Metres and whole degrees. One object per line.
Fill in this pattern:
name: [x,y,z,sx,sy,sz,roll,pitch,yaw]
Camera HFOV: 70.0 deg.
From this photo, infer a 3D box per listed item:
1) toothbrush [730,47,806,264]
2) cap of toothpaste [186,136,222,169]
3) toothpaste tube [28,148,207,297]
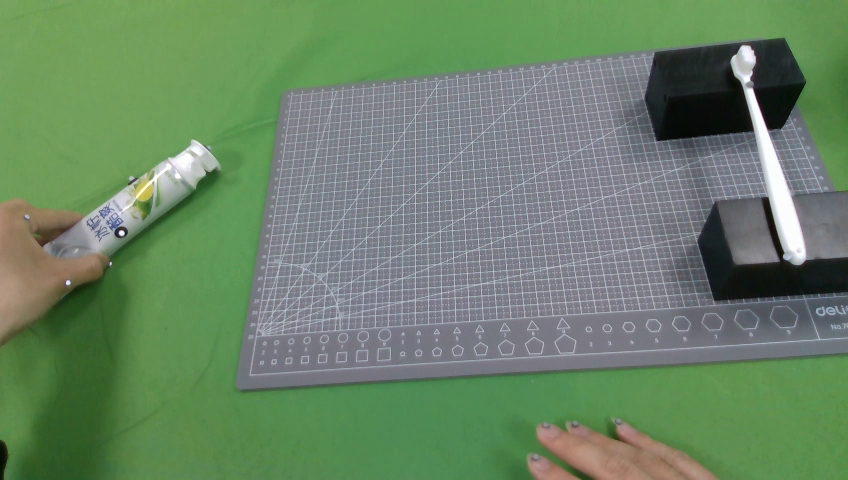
toothbrush: [0.234,-0.065,0.414,0.014,0.017,0.180,5,60,-2]
cap of toothpaste: [-0.195,-0.076,0.535,0.037,0.038,0.011,29,66,24]
toothpaste tube: [-0.256,-0.025,0.518,0.165,0.035,0.054,-42,65,-13]
